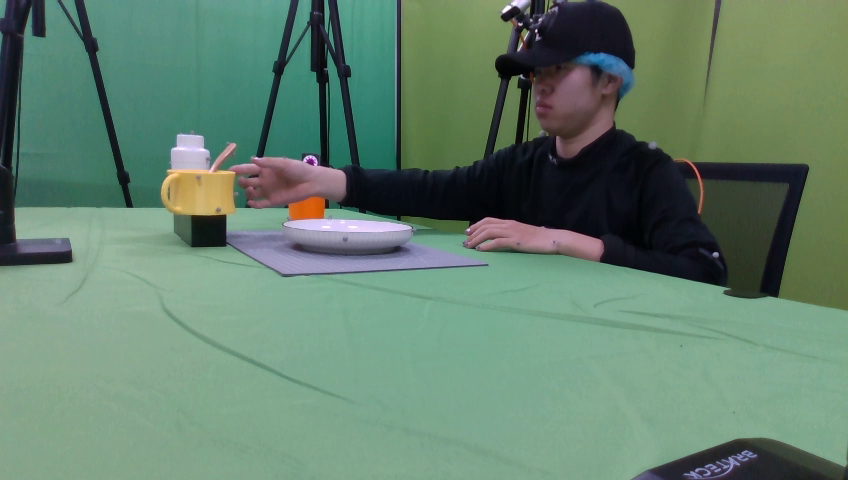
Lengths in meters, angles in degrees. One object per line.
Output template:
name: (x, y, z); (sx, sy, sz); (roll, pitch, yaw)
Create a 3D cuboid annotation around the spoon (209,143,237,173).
spoon: (-0.341, -0.113, 0.990); (0.041, 0.021, 0.193); (1, 40, 7)

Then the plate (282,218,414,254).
plate: (-0.121, -0.007, 0.971); (0.208, 0.039, 0.207); (2, 7, 0)

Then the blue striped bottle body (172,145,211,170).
blue striped bottle body: (-0.407, -0.120, 1.059); (0.063, 0.120, 0.063); (3, 8, 0)

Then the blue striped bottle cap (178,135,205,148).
blue striped bottle cap: (-0.405, -0.171, 1.053); (0.044, 0.020, 0.044); (3, 10, 0)

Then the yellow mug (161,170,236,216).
yellow mug: (-0.354, -0.074, 0.935); (0.099, 0.064, 0.131); (5, 9, 21)
